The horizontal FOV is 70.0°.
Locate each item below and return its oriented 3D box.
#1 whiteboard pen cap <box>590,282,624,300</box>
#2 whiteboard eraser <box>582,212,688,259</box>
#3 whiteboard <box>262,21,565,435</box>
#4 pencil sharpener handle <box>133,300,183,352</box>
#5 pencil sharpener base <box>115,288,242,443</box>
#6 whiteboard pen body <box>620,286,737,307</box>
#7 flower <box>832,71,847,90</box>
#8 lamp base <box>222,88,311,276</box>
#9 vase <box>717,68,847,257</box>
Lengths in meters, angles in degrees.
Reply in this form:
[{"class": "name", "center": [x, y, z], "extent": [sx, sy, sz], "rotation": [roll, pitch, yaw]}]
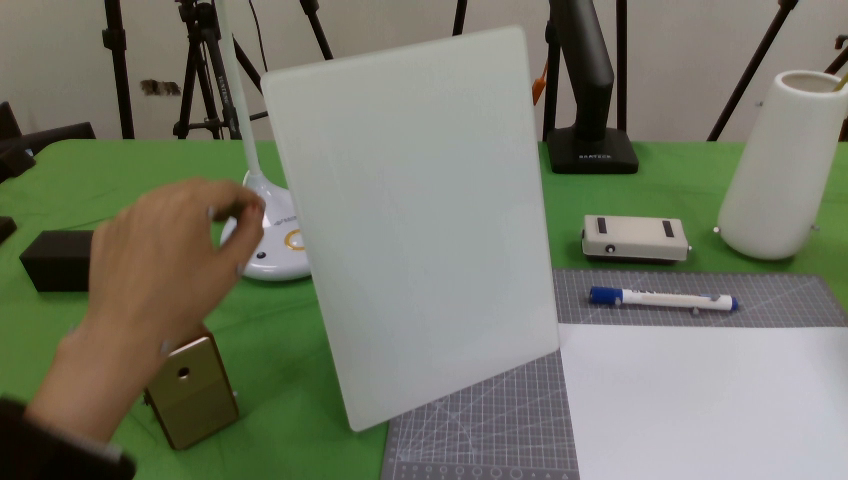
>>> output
[{"class": "whiteboard pen cap", "center": [0.194, 0.055, 0.640], "extent": [0.033, 0.018, 0.018], "rotation": [5, 37, 6]}, {"class": "whiteboard eraser", "center": [0.241, -0.004, 0.700], "extent": [0.112, 0.042, 0.055], "rotation": [2, 35, 7]}, {"class": "whiteboard", "center": [-0.013, -0.021, 0.563], "extent": [0.218, 0.307, 0.142], "rotation": [-17, 20, -18]}, {"class": "pencil sharpener handle", "center": [-0.240, 0.073, 0.547], "extent": [0.036, 0.068, 0.030], "rotation": [-34, 46, -22]}, {"class": "pencil sharpener base", "center": [-0.210, 0.107, 0.521], "extent": [0.061, 0.108, 0.076], "rotation": [-27, 43, -29]}, {"class": "whiteboard pen body", "center": [0.252, 0.058, 0.633], "extent": [0.140, 0.017, 0.017], "rotation": [3, 37, 8]}, {"class": "flower", "center": [0.399, -0.137, 0.599], "extent": [0.044, 0.364, 0.038], "rotation": [-13, 55, -24]}, {"class": "lamp base", "center": [-0.177, -0.076, 0.704], "extent": [0.161, 0.182, 0.177], "rotation": [-31, 43, -32]}, {"class": "vase", "center": [0.393, -0.079, 0.661], "extent": [0.098, 0.202, 0.097], "rotation": [-1, 37, 1]}]
